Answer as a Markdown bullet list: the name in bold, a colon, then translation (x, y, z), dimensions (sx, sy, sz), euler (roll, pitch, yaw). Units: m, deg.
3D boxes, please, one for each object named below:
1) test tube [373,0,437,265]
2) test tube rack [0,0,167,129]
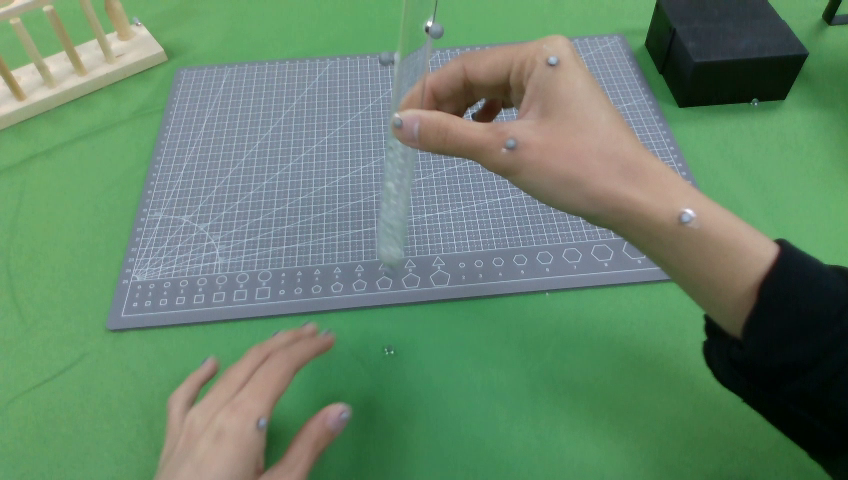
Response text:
- **test tube**: translation (-0.011, -0.050, 0.296), dimensions (0.017, 0.151, 0.017), euler (7, 33, -4)
- **test tube rack**: translation (-0.378, -0.169, 0.557), dimensions (0.242, 0.086, 0.066), euler (-32, 58, -20)
